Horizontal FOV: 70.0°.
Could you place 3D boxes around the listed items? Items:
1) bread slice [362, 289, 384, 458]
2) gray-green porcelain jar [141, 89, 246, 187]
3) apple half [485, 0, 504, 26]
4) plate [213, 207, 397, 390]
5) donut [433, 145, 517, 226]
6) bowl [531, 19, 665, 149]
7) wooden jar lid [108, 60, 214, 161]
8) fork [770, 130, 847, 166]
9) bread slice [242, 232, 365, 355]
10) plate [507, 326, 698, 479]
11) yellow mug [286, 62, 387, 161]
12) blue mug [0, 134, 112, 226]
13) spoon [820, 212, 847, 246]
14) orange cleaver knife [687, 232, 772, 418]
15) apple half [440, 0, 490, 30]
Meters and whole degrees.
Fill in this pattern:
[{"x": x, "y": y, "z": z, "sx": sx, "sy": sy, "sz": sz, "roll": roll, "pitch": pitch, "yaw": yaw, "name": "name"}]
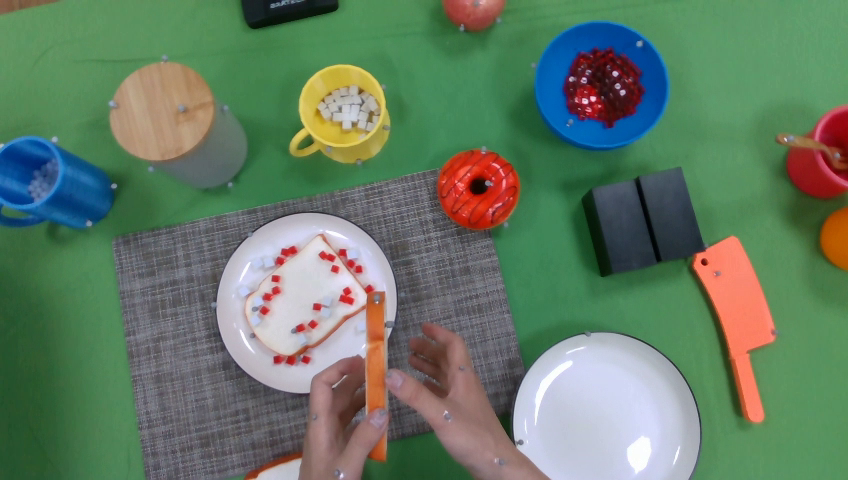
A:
[{"x": -0.045, "y": 0.112, "z": 0.546, "sx": 0.018, "sy": 0.106, "sz": 0.135, "roll": 0, "pitch": 103, "yaw": -4, "name": "bread slice"}, {"x": -0.269, "y": -0.122, "z": 0.691, "sx": 0.106, "sy": 0.127, "sz": 0.105, "roll": 0, "pitch": 81, "yaw": 1, "name": "gray-green porcelain jar"}, {"x": 0.068, "y": -0.308, "z": 0.742, "sx": 0.080, "sy": 0.075, "sz": 0.053, "roll": 43, "pitch": 79, "yaw": 11, "name": "apple half"}, {"x": -0.134, "y": 0.067, "z": 0.701, "sx": 0.208, "sy": 0.039, "sz": 0.207, "roll": 0, "pitch": 81, "yaw": 1, "name": "plate"}, {"x": 0.060, "y": -0.064, "z": 0.715, "sx": 0.099, "sy": 0.048, "sz": 0.098, "roll": 0, "pitch": 82, "yaw": 1, "name": "donut"}, {"x": 0.196, "y": -0.171, "z": 0.716, "sx": 0.151, "sy": 0.077, "sz": 0.151, "roll": 0, "pitch": 82, "yaw": 1, "name": "bowl"}, {"x": -0.271, "y": -0.133, "z": 0.630, "sx": 0.108, "sy": 0.021, "sz": 0.108, "roll": 0, "pitch": 79, "yaw": 2, "name": "wooden jar lid"}, {"x": 0.430, "y": -0.103, "z": 0.667, "sx": 0.209, "sy": 0.018, "sz": 0.028, "roll": 2, "pitch": 79, "yaw": -41, "name": "fork"}, {"x": -0.143, "y": 0.070, "z": 0.701, "sx": 0.131, "sy": 0.019, "sz": 0.104, "roll": -39, "pitch": 82, "yaw": -4, "name": "bread slice"}, {"x": 0.196, "y": 0.202, "z": 0.679, "sx": 0.209, "sy": 0.038, "sz": 0.208, "roll": 0, "pitch": 81, "yaw": 1, "name": "plate"}, {"x": -0.109, "y": -0.142, "z": 0.723, "sx": 0.131, "sy": 0.064, "sz": 0.099, "roll": -36, "pitch": 83, "yaw": -4, "name": "yellow mug"}, {"x": -0.439, "y": -0.055, "z": 0.694, "sx": 0.116, "sy": 0.106, "sz": 0.082, "roll": -38, "pitch": 82, "yaw": -4, "name": "blue mug"}, {"x": 0.534, "y": 0.001, "z": 0.649, "sx": 0.022, "sy": 0.192, "sz": 0.041, "roll": 33, "pitch": 80, "yaw": -39, "name": "spoon"}, {"x": 0.365, "y": 0.096, "z": 0.702, "sx": 0.077, "sy": 0.012, "sz": 0.210, "roll": -11, "pitch": 80, "yaw": -7, "name": "orange cleaver knife"}, {"x": 0.042, "y": -0.280, "z": 0.736, "sx": 0.081, "sy": 0.081, "sz": 0.033, "roll": 43, "pitch": 79, "yaw": 7, "name": "apple half"}]
